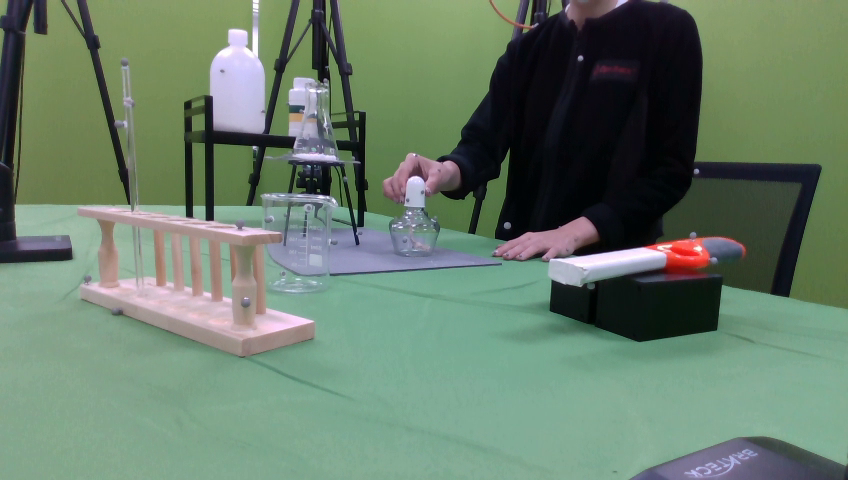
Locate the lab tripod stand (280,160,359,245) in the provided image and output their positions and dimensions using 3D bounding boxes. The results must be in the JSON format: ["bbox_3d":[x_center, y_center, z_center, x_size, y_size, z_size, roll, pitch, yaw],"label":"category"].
[{"bbox_3d":[-0.176,-0.062,0.973,0.148,0.131,0.148,1,7,0],"label":"lab tripod stand"}]

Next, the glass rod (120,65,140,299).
[{"bbox_3d":[-0.249,-0.047,0.513,0.008,0.199,0.008,-1,4,0],"label":"glass rod"}]

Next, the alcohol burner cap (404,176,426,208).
[{"bbox_3d":[-0.012,-0.070,0.885,0.034,0.048,0.034,2,8,0],"label":"alcohol burner cap"}]

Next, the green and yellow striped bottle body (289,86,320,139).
[{"bbox_3d":[-0.250,-0.272,1.261,0.063,0.119,0.063,3,7,0],"label":"green and yellow striped bottle body"}]

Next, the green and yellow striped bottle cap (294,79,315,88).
[{"bbox_3d":[-0.248,-0.323,1.256,0.045,0.020,0.045,3,9,0],"label":"green and yellow striped bottle cap"}]

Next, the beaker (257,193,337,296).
[{"bbox_3d":[-0.130,0.004,0.628,0.084,0.100,0.074,5,8,15],"label":"beaker"}]

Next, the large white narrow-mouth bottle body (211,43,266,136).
[{"bbox_3d":[-0.361,-0.302,1.176,0.102,0.194,0.102,1,7,0],"label":"large white narrow-mouth bottle body"}]

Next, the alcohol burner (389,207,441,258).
[{"bbox_3d":[-0.013,-0.034,0.891,0.078,0.119,0.078,0,6,0],"label":"alcohol burner"}]

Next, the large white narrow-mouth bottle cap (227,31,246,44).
[{"bbox_3d":[-0.361,-0.388,1.166,0.038,0.024,0.037,1,7,0],"label":"large white narrow-mouth bottle cap"}]

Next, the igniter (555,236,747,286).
[{"bbox_3d":[0.221,0.017,0.558,0.278,0.025,0.057,-5,15,-39],"label":"igniter"}]

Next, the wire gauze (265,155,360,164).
[{"bbox_3d":[-0.181,-0.128,0.969,0.126,0.011,0.121,-3,7,-26],"label":"wire gauze"}]

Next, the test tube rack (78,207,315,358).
[{"bbox_3d":[-0.196,0.023,0.500,0.241,0.085,0.067,8,9,37],"label":"test tube rack"}]

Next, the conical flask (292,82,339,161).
[{"bbox_3d":[-0.171,-0.185,0.957,0.075,0.122,0.075,2,7,0],"label":"conical flask"}]
